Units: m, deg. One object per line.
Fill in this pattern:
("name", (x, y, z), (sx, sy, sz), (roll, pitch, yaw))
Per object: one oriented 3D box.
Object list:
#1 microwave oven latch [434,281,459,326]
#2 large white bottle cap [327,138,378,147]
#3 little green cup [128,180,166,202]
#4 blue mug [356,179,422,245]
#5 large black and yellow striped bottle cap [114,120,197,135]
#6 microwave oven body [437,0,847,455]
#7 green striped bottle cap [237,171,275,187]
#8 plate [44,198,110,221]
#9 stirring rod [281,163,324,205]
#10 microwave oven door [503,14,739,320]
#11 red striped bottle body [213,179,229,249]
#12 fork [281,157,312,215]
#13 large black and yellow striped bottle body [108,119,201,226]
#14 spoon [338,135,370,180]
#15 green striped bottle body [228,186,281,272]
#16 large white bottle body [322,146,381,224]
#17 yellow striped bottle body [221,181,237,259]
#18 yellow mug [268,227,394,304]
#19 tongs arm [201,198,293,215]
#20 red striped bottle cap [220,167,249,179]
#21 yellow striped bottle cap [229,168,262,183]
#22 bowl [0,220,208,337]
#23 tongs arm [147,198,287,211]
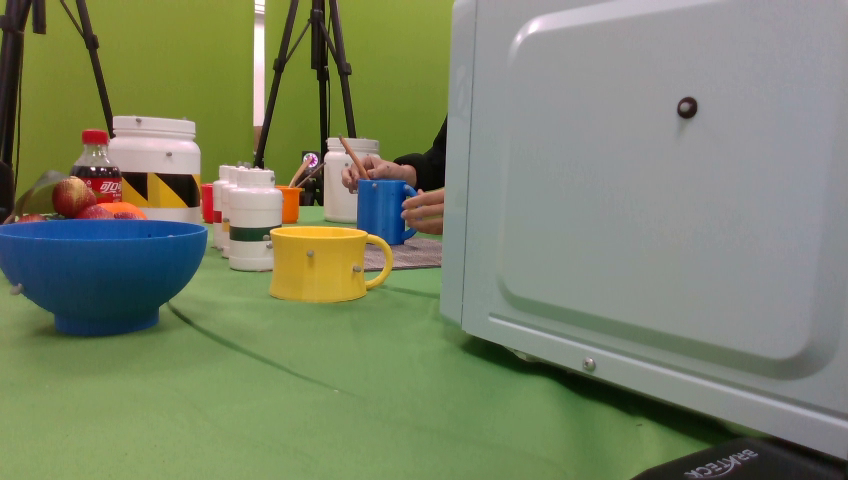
("microwave oven latch", (0.044, 0.045, 0.470), (0.079, 0.029, 0.030), (-3, 8, -39))
("large white bottle cap", (-0.160, -0.218, 1.357), (0.115, 0.018, 0.115), (2, 8, 0))
("little green cup", (-0.485, -0.087, 1.062), (0.061, 0.038, 0.061), (-1, 6, 0))
("blue mug", (-0.057, -0.046, 1.006), (0.116, 0.106, 0.082), (5, 8, 21))
("large black and yellow striped bottle cap", (-0.407, -0.171, 0.920), (0.115, 0.019, 0.115), (2, 9, 0))
("microwave oven body", (0.279, -0.040, 0.465), (0.444, 0.260, 0.324), (-3, 9, -41))
("green striped bottle cap", (-0.206, -0.074, 0.738), (0.044, 0.020, 0.044), (1, 9, 0))
("plate", (-0.617, -0.056, 1.179), (0.209, 0.038, 0.209), (3, 7, 0))
("stirring rod", (-0.278, -0.105, 1.293), (0.176, 0.006, 0.014), (-47, 25, -18))
("microwave oven door", (0.218, -0.065, 0.600), (0.358, 0.243, 0.039), (-4, 10, -41))
("red striped bottle body", (-0.284, -0.048, 0.909), (0.063, 0.119, 0.063), (3, 10, 0))
("fork", (-0.289, -0.116, 1.321), (0.028, 0.019, 0.207), (6, 51, 19))
("large black and yellow striped bottle body", (-0.412, -0.088, 0.930), (0.131, 0.184, 0.130), (3, 7, 0))
("spoon", (-0.097, -0.097, 1.021), (0.021, 0.193, 0.042), (-28, -10, 9))
("green striped bottle body", (-0.208, -0.023, 0.745), (0.063, 0.119, 0.063), (2, 7, 0))
("large white bottle body", (-0.163, -0.135, 1.368), (0.131, 0.184, 0.130), (2, 7, 0))
("yellow striped bottle body", (-0.244, -0.036, 0.823), (0.063, 0.120, 0.063), (3, 8, 0))
("yellow mug", (-0.094, 0.023, 0.630), (0.131, 0.064, 0.099), (0, 7, -22))
("tongs arm", (-0.423, -0.084, 1.472), (0.050, 0.026, 0.386), (2, 6, 21))
("red striped bottle cap", (-0.281, -0.100, 0.901), (0.044, 0.017, 0.044), (-1, 5, 0))
("yellow striped bottle cap", (-0.240, -0.087, 0.816), (0.044, 0.018, 0.044), (-3, 5, 1))
("bowl", (-0.251, 0.029, 0.479), (0.151, 0.077, 0.151), (2, 7, 0))
("tongs arm", (-0.504, -0.091, 1.513), (0.028, 0.028, 0.389), (0, 4, 37))
